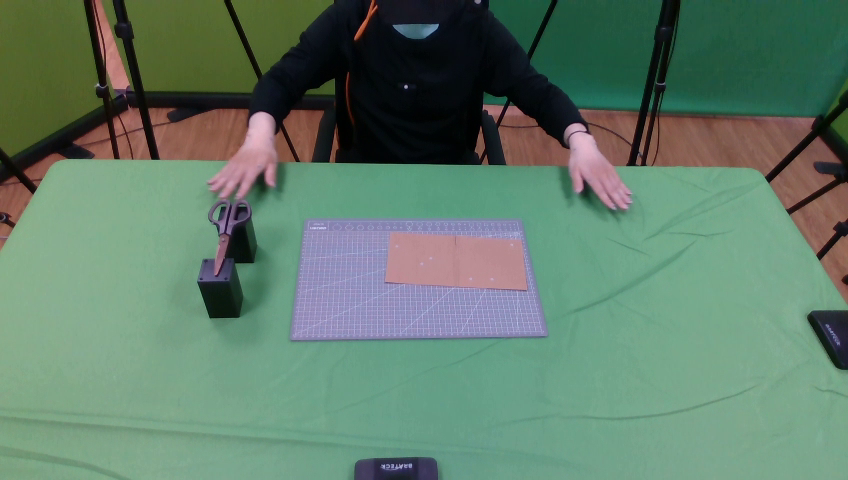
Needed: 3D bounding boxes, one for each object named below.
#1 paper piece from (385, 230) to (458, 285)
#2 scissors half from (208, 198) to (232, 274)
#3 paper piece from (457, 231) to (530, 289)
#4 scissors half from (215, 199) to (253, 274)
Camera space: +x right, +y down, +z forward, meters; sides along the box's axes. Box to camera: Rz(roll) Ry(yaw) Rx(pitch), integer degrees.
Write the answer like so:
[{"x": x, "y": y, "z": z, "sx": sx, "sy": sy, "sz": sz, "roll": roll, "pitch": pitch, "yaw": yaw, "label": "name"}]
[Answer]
[{"x": -0.002, "y": 0.031, "z": 1.169, "sx": 0.136, "sy": 0.004, "sz": 0.134, "roll": 3, "pitch": 48, "yaw": 0, "label": "paper piece"}, {"x": -0.352, "y": -0.009, "z": 1.046, "sx": 0.040, "sy": 0.013, "sz": 0.174, "roll": -2, "pitch": 49, "yaw": -15, "label": "scissors half"}, {"x": 0.132, "y": 0.038, "z": 1.171, "sx": 0.138, "sy": 0.009, "sz": 0.135, "roll": 4, "pitch": 50, "yaw": -1, "label": "paper piece"}, {"x": -0.332, "y": -0.009, "z": 1.049, "sx": 0.040, "sy": 0.013, "sz": 0.174, "roll": 7, "pitch": 48, "yaw": 1, "label": "scissors half"}]
